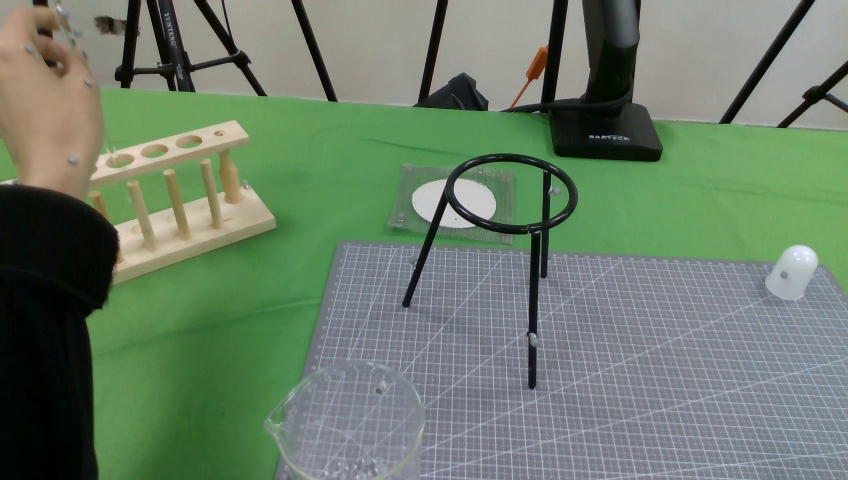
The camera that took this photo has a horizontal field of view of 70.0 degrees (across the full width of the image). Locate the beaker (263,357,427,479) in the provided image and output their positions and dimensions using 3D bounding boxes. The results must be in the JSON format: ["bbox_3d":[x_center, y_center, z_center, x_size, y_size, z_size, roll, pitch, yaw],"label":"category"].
[{"bbox_3d":[-0.041,0.126,0.338,0.084,0.101,0.073,1,40,0],"label":"beaker"}]

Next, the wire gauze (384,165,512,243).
[{"bbox_3d":[0.027,-0.043,0.618,0.125,0.011,0.120,5,39,5],"label":"wire gauze"}]

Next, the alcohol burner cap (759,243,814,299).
[{"bbox_3d":[0.312,0.024,0.518,0.034,0.048,0.033,1,40,-1],"label":"alcohol burner cap"}]

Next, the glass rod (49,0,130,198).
[{"bbox_3d":[-0.252,-0.107,0.461,0.008,0.201,0.008,2,46,-2],"label":"glass rod"}]

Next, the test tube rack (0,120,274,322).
[{"bbox_3d":[-0.261,-0.022,0.519,0.243,0.086,0.066,-22,46,-26],"label":"test tube rack"}]

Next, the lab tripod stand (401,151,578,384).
[{"bbox_3d":[0.053,0.013,0.449,0.148,0.132,0.147,0,42,0],"label":"lab tripod stand"}]
